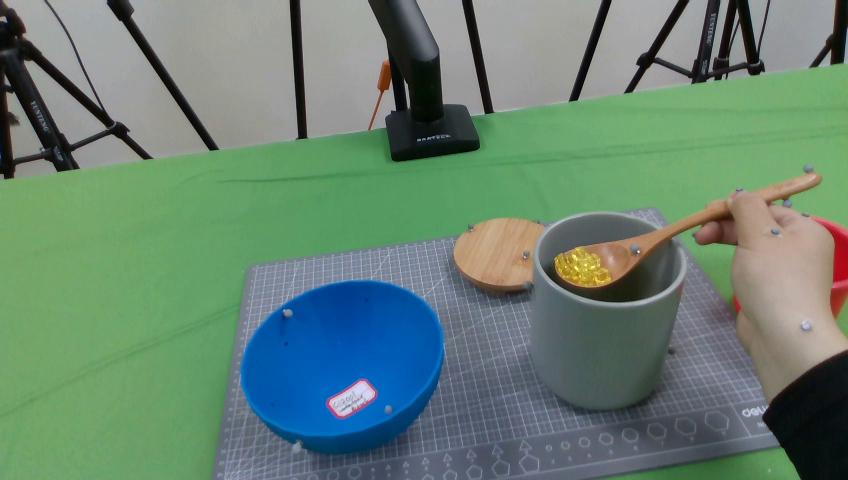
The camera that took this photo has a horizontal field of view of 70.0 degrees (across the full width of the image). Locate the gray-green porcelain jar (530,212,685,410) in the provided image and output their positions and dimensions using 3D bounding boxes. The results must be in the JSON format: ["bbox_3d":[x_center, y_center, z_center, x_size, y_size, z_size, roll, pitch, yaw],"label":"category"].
[{"bbox_3d":[0.135,0.059,0.467,0.106,0.128,0.105,-4,39,3],"label":"gray-green porcelain jar"}]

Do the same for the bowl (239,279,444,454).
[{"bbox_3d":[-0.057,0.109,0.469,0.151,0.077,0.150,-4,39,3],"label":"bowl"}]

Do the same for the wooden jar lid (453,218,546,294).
[{"bbox_3d":[0.083,0.017,0.612,0.108,0.021,0.107,-4,38,4],"label":"wooden jar lid"}]

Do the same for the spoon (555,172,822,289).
[{"bbox_3d":[0.186,-0.009,0.428,0.193,0.022,0.041,-24,40,8],"label":"spoon"}]
